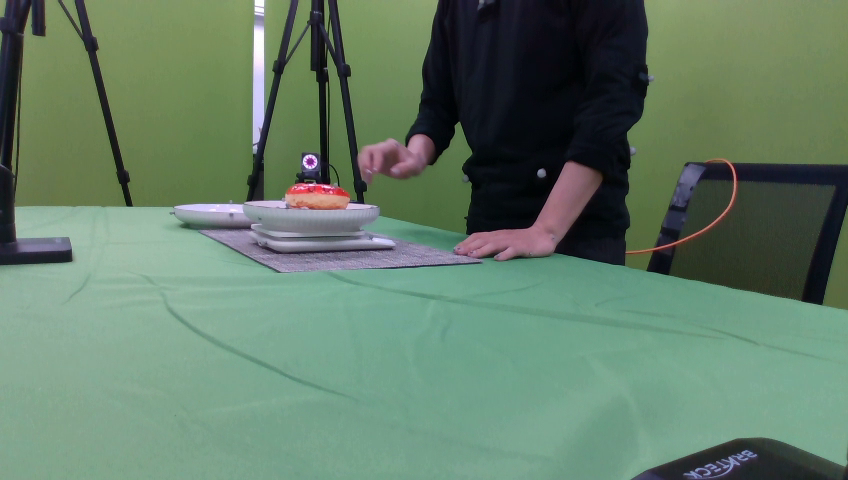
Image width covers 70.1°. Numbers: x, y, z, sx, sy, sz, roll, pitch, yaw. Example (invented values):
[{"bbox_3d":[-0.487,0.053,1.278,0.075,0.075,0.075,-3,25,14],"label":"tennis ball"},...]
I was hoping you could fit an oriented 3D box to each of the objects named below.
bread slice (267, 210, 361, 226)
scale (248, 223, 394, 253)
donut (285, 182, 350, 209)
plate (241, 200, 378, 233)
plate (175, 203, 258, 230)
[{"bbox_3d":[-0.174,-0.036,0.934,0.132,0.019,0.104,-1,7,-28],"label":"bread slice"},{"bbox_3d":[-0.162,-0.006,0.954,0.202,0.031,0.148,-2,8,-32],"label":"scale"},{"bbox_3d":[-0.165,-0.065,0.938,0.099,0.048,0.099,3,3,0],"label":"donut"},{"bbox_3d":[-0.176,-0.038,0.939,0.209,0.038,0.209,3,7,0],"label":"plate"},{"bbox_3d":[-0.381,-0.047,1.199,0.208,0.039,0.207,3,7,0],"label":"plate"}]
